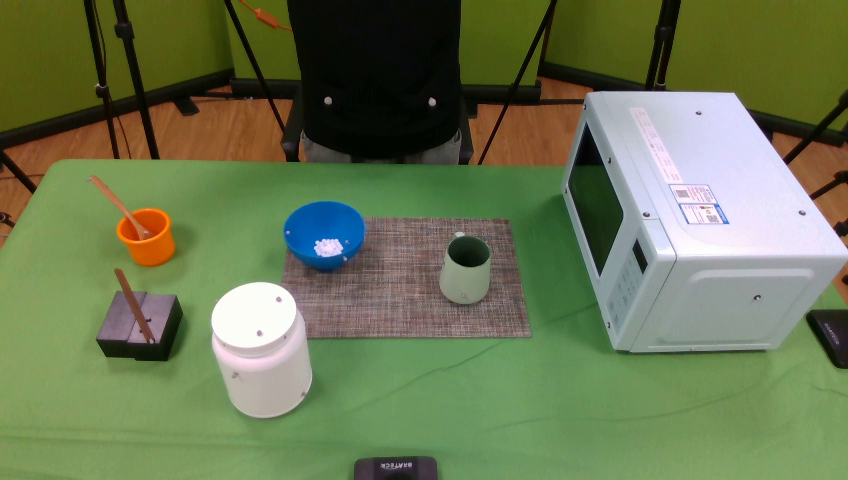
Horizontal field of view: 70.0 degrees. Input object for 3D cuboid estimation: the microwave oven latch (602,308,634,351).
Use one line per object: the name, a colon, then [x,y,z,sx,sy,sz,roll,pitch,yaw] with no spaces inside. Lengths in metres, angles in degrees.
microwave oven latch: [0.332,0.153,1.044,0.030,0.029,0.078,-1,45,-4]

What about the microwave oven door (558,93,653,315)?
microwave oven door: [0.327,-0.074,1.123,0.039,0.245,0.353,0,46,-5]

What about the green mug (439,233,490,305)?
green mug: [0.071,0.044,1.101,0.092,0.105,0.124,-6,46,-9]

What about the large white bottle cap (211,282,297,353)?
large white bottle cap: [-0.237,0.106,0.846,0.115,0.018,0.114,2,45,-2]

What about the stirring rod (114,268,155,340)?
stirring rod: [-0.479,0.103,0.999,0.014,0.006,0.175,7,32,-49]

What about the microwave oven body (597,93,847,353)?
microwave oven body: [0.475,-0.041,1.110,0.326,0.261,0.438,-1,45,-4]

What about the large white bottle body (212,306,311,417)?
large white bottle body: [-0.241,0.165,0.907,0.131,0.185,0.130,2,45,-2]

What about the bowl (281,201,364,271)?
bowl: [-0.187,0.005,1.137,0.151,0.077,0.150,3,46,-3]

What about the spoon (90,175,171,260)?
spoon: [-0.539,-0.042,1.111,0.041,0.194,0.021,-45,19,-32]
